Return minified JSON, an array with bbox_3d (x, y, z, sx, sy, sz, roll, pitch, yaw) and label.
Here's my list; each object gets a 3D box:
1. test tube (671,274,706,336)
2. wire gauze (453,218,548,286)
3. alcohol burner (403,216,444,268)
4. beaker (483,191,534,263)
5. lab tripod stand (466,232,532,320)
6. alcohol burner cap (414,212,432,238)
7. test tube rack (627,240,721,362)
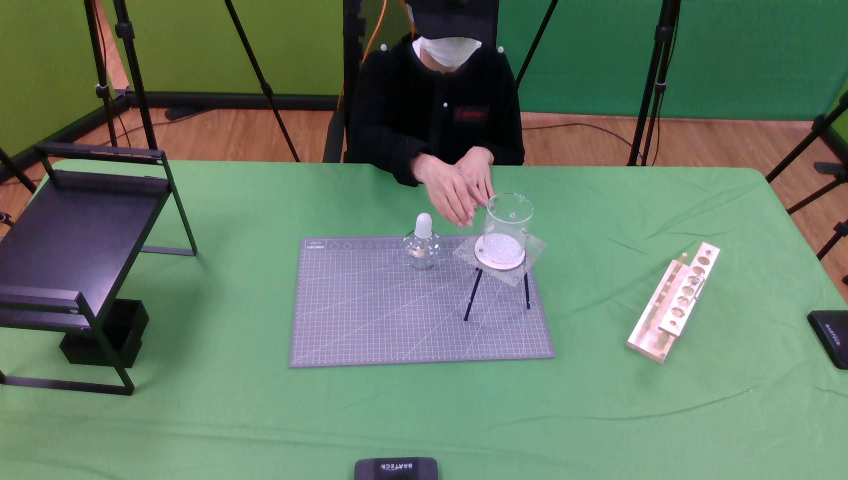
[{"bbox_3d":[0.429,0.111,1.004,0.017,0.151,0.017,4,43,-4],"label":"test tube"},{"bbox_3d":[0.129,0.014,1.019,0.124,0.011,0.121,25,47,25],"label":"wire gauze"},{"bbox_3d":[-0.001,-0.004,1.132,0.078,0.120,0.077,1,47,0],"label":"alcohol burner"},{"bbox_3d":[0.135,-0.020,0.983,0.073,0.101,0.084,28,50,23],"label":"beaker"},{"bbox_3d":[0.125,0.059,1.065,0.148,0.132,0.147,1,45,0],"label":"lab tripod stand"},{"bbox_3d":[0.000,-0.030,1.107,0.034,0.048,0.033,4,41,-3],"label":"alcohol burner cap"},{"bbox_3d":[0.452,0.098,1.087,0.066,0.085,0.242,28,51,22],"label":"test tube rack"}]
